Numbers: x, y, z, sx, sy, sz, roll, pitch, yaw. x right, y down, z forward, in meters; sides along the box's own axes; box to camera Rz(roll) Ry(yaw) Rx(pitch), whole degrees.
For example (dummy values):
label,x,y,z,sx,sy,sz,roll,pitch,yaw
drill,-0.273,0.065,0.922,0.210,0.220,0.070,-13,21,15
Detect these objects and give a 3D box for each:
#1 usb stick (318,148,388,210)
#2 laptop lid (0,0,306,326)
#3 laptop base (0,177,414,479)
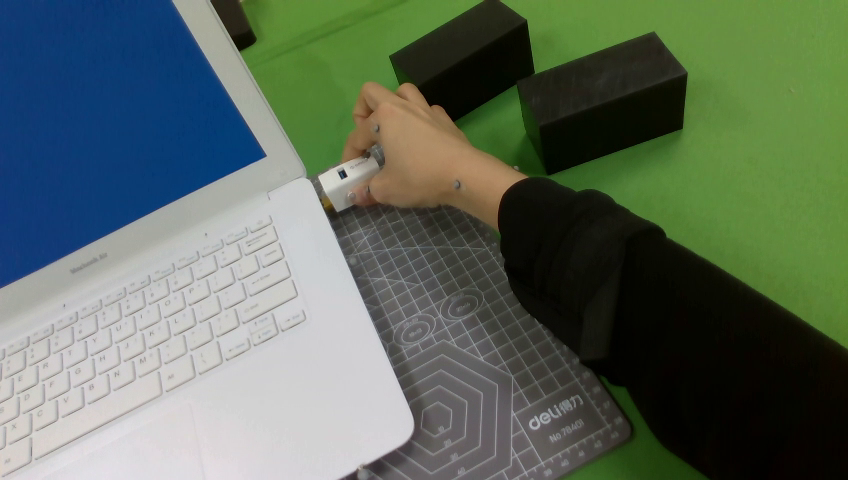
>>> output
label,x,y,z,sx,sy,sz,roll,pitch,yaw
usb stick,-0.059,-0.042,0.452,0.059,0.027,0.021,-30,49,0
laptop lid,-0.286,-0.057,0.403,0.357,0.244,0.013,-28,37,-2
laptop base,-0.201,0.110,0.402,0.354,0.023,0.233,-27,54,-3
